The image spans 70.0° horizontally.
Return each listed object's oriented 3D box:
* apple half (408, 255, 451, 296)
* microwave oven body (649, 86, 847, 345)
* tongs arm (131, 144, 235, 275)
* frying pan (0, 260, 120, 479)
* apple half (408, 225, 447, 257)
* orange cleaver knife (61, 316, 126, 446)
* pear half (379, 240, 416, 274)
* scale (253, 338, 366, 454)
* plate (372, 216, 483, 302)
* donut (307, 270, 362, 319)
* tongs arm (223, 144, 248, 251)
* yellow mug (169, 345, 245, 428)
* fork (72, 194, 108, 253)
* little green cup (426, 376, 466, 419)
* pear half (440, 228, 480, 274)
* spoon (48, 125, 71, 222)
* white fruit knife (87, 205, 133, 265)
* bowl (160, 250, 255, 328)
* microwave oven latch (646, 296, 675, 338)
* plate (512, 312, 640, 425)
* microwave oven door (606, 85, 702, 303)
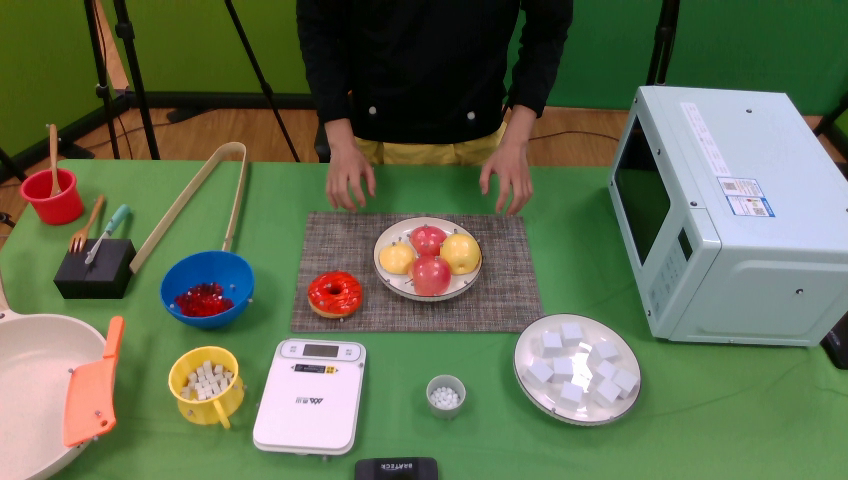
[{"bbox_3d":[0.012,0.058,1.103,0.075,0.053,0.080,-6,43,-13],"label":"apple half"},{"bbox_3d":[0.567,-0.053,1.118,0.326,0.261,0.439,2,45,-1],"label":"microwave oven body"},{"bbox_3d":[-0.484,-0.076,1.236,0.028,0.028,0.385,5,45,14],"label":"tongs arm"},{"bbox_3d":[-0.647,0.164,0.936,0.307,0.103,0.485,-19,58,-22],"label":"frying pan"},{"bbox_3d":[0.011,-0.006,1.176,0.081,0.033,0.081,2,53,-3],"label":"apple half"},{"bbox_3d":[-0.480,0.199,0.888,0.077,0.012,0.210,-8,46,-9],"label":"orange cleaver knife"},{"bbox_3d":[-0.048,0.024,1.146,0.070,0.031,0.087,11,47,-12],"label":"pear half"},{"bbox_3d":[-0.175,0.236,0.951,0.149,0.032,0.199,4,45,0],"label":"scale"},{"bbox_3d":[0.006,0.038,1.145,0.209,0.038,0.208,2,46,-2],"label":"plate"},{"bbox_3d":[-0.157,0.097,1.073,0.099,0.048,0.098,4,45,-4],"label":"donut"},{"bbox_3d":[-0.397,-0.073,1.232,0.051,0.027,0.382,-3,45,1],"label":"tongs arm"},{"bbox_3d":[-0.322,0.230,0.922,0.100,0.064,0.130,-24,53,-25],"label":"yellow mug"},{"bbox_3d":[-0.634,-0.036,1.158,0.028,0.019,0.206,-7,31,-9],"label":"fork"},{"bbox_3d":[0.033,0.248,0.950,0.061,0.039,0.061,2,46,-2],"label":"little green cup"},{"bbox_3d":[0.065,0.007,1.150,0.076,0.056,0.109,-11,44,-1],"label":"pear half"},{"bbox_3d":[-0.718,-0.131,1.188,0.041,0.021,0.193,-3,90,-7],"label":"spoon"},{"bbox_3d":[-0.584,-0.013,1.129,0.016,0.027,0.206,-1,32,-4],"label":"white fruit knife"},{"bbox_3d":[-0.362,0.098,1.040,0.151,0.077,0.150,2,45,-2],"label":"bowl"},{"bbox_3d":[0.412,0.134,1.061,0.030,0.029,0.078,4,45,1],"label":"microwave oven latch"},{"bbox_3d":[0.246,0.213,0.999,0.208,0.039,0.206,2,46,-2],"label":"plate"},{"bbox_3d":[0.422,-0.094,1.140,0.039,0.245,0.353,2,46,-1],"label":"microwave oven door"}]
